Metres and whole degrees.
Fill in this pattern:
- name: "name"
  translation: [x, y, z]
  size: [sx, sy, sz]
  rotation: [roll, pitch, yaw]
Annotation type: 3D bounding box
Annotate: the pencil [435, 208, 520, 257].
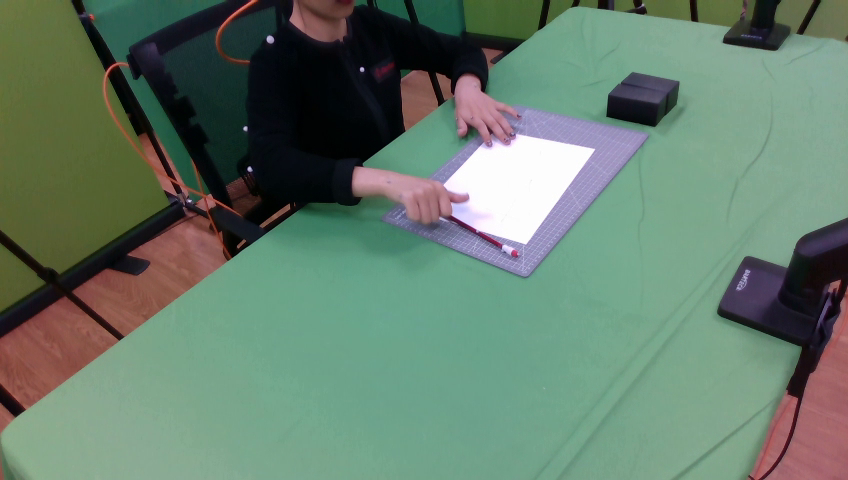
- name: "pencil"
  translation: [0.083, -0.016, 0.990]
  size: [0.012, 0.012, 0.192]
  rotation: [-34, 45, -26]
